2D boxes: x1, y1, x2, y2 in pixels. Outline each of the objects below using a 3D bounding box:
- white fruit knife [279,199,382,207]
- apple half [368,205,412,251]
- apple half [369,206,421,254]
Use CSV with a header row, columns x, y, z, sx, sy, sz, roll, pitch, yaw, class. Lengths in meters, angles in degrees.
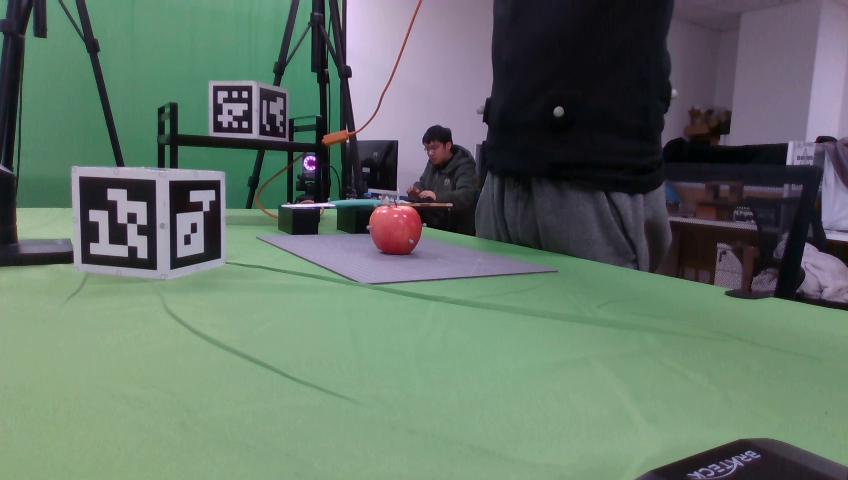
x,y,z,sx,sy,sz,roll,pitch,yaw,class
-0.182,-0.072,1.188,0.208,0.016,0.027,-2,17,-31,white fruit knife
-0.059,-0.021,0.951,0.082,0.081,0.032,-2,13,-31,apple half
-0.039,-0.014,0.919,0.081,0.074,0.053,3,11,-32,apple half
